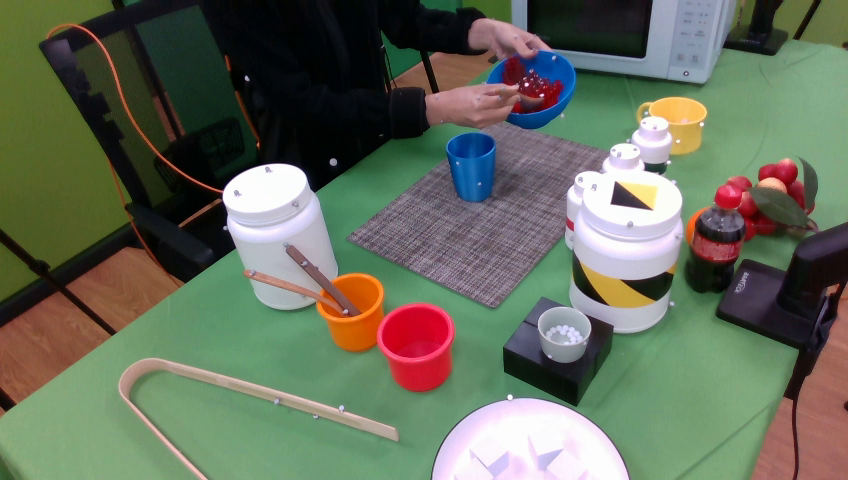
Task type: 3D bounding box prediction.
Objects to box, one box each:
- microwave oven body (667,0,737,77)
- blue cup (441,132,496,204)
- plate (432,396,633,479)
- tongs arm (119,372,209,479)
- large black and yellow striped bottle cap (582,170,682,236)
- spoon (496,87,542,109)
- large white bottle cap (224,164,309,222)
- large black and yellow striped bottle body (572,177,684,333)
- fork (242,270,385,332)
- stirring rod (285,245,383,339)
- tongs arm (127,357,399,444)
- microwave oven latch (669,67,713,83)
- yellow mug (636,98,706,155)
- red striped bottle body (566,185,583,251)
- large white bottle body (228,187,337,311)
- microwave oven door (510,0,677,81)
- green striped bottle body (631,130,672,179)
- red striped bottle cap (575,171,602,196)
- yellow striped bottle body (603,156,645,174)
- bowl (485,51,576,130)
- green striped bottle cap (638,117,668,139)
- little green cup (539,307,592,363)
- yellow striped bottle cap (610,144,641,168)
[{"bbox_3d":[0.462,-0.552,1.369,0.439,0.261,0.326,15,45,26],"label":"microwave oven body"},{"bbox_3d":[0.083,-0.119,1.040,0.092,0.100,0.092,-5,40,4],"label":"blue cup"},{"bbox_3d":[0.112,0.261,0.634,0.209,0.038,0.208,-5,40,4],"label":"plate"},{"bbox_3d":[-0.258,0.257,0.700,0.384,0.028,0.028,24,55,34],"label":"tongs arm"},{"bbox_3d":[0.252,-0.048,0.735,0.115,0.019,0.114,-3,40,3],"label":"large black and yellow striped bottle cap"},{"bbox_3d":[0.148,-0.228,0.961,0.041,0.021,0.195,-11,-2,27],"label":"spoon"},{"bbox_3d":[-0.215,-0.066,0.829,0.115,0.018,0.114,-4,40,4],"label":"large white bottle cap"},{"bbox_3d":[0.262,0.017,0.788,0.131,0.185,0.130,-5,40,4],"label":"large black and yellow striped bottle body"},{"bbox_3d":[-0.142,0.082,0.802,0.209,0.018,0.028,28,38,-26],"label":"fork"},{"bbox_3d":[-0.121,0.071,0.819,0.176,0.006,0.014,44,52,-6],"label":"stirring rod"},{"bbox_3d":[-0.213,0.205,0.755,0.382,0.026,0.051,12,45,23],"label":"tongs arm"},{"bbox_3d":[0.556,-0.348,1.261,0.078,0.029,0.030,16,46,27],"label":"microwave oven latch"},{"bbox_3d":[0.453,-0.217,1.129,0.100,0.064,0.129,-34,46,-27],"label":"yellow mug"},{"bbox_3d":[0.248,-0.041,0.910,0.063,0.120,0.062,-5,41,4],"label":"red striped bottle body"},{"bbox_3d":[-0.207,-0.002,0.883,0.130,0.185,0.130,-4,40,4],"label":"large white bottle body"},{"bbox_3d":[0.354,-0.478,1.290,0.353,0.245,0.039,15,45,25],"label":"microwave oven door"},{"bbox_3d":[0.375,-0.140,1.007,0.063,0.120,0.063,-5,40,5],"label":"green striped bottle body"},{"bbox_3d":[0.242,-0.081,0.876,0.044,0.018,0.044,-5,44,5],"label":"red striped bottle cap"},{"bbox_3d":[0.313,-0.089,0.956,0.063,0.121,0.062,-4,39,4],"label":"yellow striped bottle body"},{"bbox_3d":[0.183,-0.242,1.034,0.151,0.077,0.150,-7,56,11],"label":"bowl"},{"bbox_3d":[0.369,-0.180,0.974,0.044,0.020,0.044,-4,41,4],"label":"green striped bottle cap"},{"bbox_3d":[0.168,0.115,0.721,0.061,0.039,0.061,-4,42,4],"label":"little green cup"},{"bbox_3d":[0.307,-0.128,0.923,0.044,0.019,0.044,-6,39,5],"label":"yellow striped bottle cap"}]
